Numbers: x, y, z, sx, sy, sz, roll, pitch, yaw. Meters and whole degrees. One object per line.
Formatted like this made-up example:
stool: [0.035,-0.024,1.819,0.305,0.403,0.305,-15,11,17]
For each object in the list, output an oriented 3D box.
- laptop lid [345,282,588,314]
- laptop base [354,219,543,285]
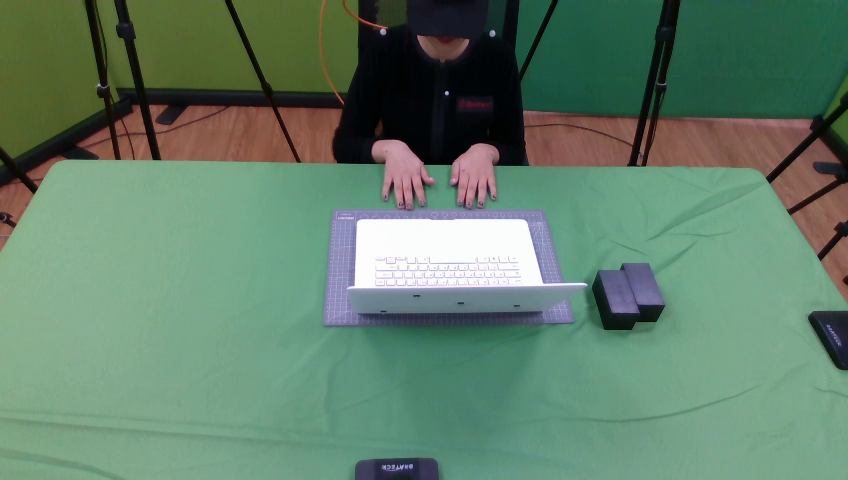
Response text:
laptop lid: [0.057,0.096,0.969,0.357,0.242,0.013,0,74,-6]
laptop base: [0.043,0.044,1.162,0.355,0.023,0.234,0,43,-5]
